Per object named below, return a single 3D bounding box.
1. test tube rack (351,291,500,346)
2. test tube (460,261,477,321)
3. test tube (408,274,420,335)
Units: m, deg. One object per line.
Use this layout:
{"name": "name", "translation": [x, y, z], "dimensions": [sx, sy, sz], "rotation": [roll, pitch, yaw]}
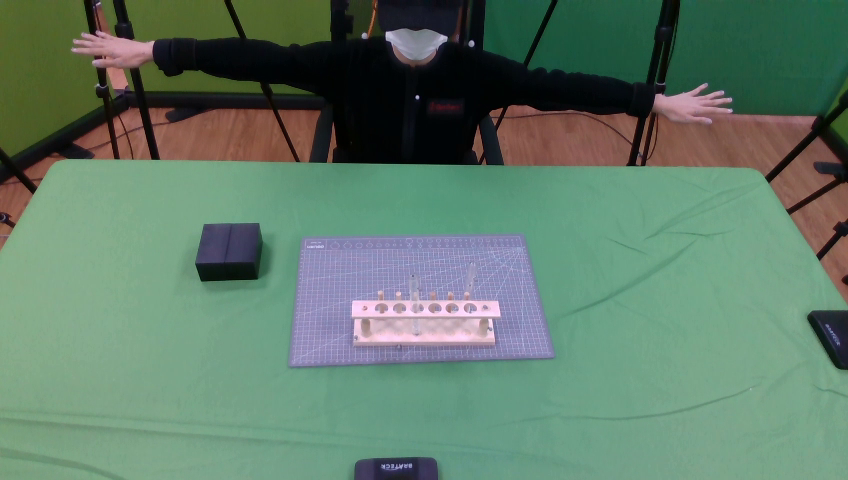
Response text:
{"name": "test tube rack", "translation": [0.000, 0.129, 1.026], "dimensions": [0.242, 0.085, 0.066], "rotation": [1, 46, -4]}
{"name": "test tube", "translation": [0.073, 0.087, 1.010], "dimensions": [0.017, 0.151, 0.017], "rotation": [2, 47, -2]}
{"name": "test tube", "translation": [-0.016, 0.107, 0.977], "dimensions": [0.017, 0.151, 0.017], "rotation": [0, 48, 1]}
